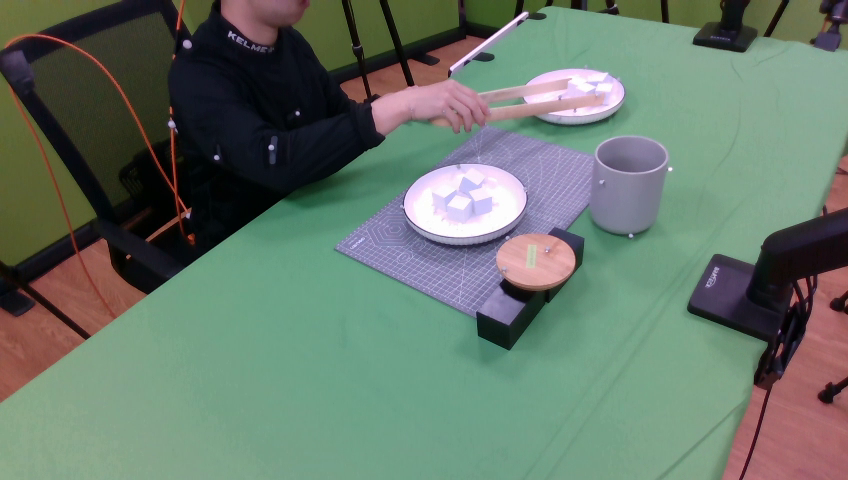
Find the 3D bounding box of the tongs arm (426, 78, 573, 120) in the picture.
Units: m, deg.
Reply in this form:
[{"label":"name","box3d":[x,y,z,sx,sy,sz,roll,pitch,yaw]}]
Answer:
[{"label":"tongs arm","box3d":[0.158,-0.284,1.195,0.390,0.028,0.028,-18,44,-31]}]

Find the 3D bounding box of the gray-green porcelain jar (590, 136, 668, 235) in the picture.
[{"label":"gray-green porcelain jar","box3d":[0.314,-0.080,0.937,0.106,0.127,0.105,-4,41,4]}]

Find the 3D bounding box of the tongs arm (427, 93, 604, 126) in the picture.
[{"label":"tongs arm","box3d":[0.185,-0.256,1.157,0.387,0.026,0.050,-14,39,-27]}]

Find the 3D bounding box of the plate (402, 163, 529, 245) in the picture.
[{"label":"plate","box3d":[0.069,-0.056,1.008,0.209,0.038,0.208,-4,40,4]}]

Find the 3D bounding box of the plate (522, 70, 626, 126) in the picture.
[{"label":"plate","box3d":[0.308,-0.290,1.251,0.207,0.039,0.206,-4,40,4]}]

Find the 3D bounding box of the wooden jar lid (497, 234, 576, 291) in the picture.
[{"label":"wooden jar lid","box3d":[0.154,0.032,0.834,0.108,0.021,0.108,-5,40,5]}]
